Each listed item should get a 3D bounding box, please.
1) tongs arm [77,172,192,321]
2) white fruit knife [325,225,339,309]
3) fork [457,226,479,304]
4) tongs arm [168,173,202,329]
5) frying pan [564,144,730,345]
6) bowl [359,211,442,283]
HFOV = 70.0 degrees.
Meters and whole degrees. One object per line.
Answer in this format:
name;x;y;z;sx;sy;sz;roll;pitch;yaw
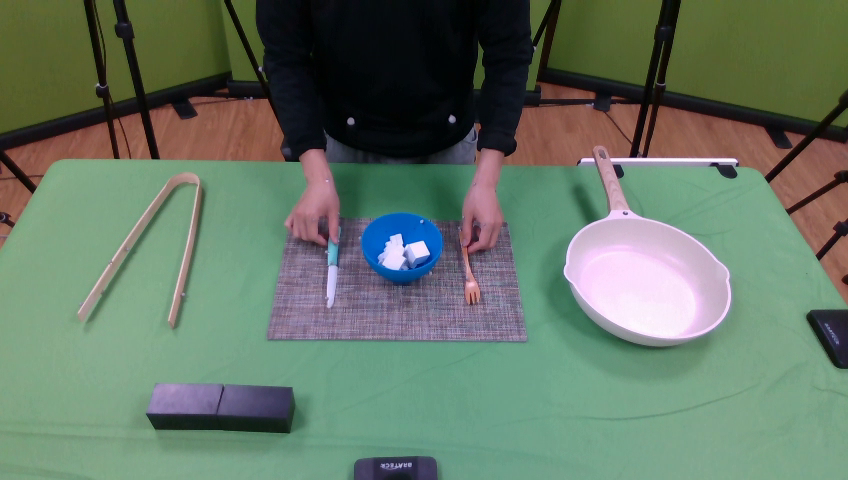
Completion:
tongs arm;-0.535;-0.002;1.147;0.051;0.026;0.382;7;45;1
white fruit knife;-0.174;0.045;1.136;0.016;0.027;0.206;-31;41;25
fork;0.081;0.044;1.159;0.028;0.019;0.206;-16;46;10
tongs arm;-0.454;0.005;1.153;0.028;0.028;0.385;-5;47;-6
frying pan;0.396;-0.008;1.179;0.307;0.103;0.484;0;55;-5
bowl;-0.045;0.026;1.124;0.151;0.077;0.150;2;46;-2
